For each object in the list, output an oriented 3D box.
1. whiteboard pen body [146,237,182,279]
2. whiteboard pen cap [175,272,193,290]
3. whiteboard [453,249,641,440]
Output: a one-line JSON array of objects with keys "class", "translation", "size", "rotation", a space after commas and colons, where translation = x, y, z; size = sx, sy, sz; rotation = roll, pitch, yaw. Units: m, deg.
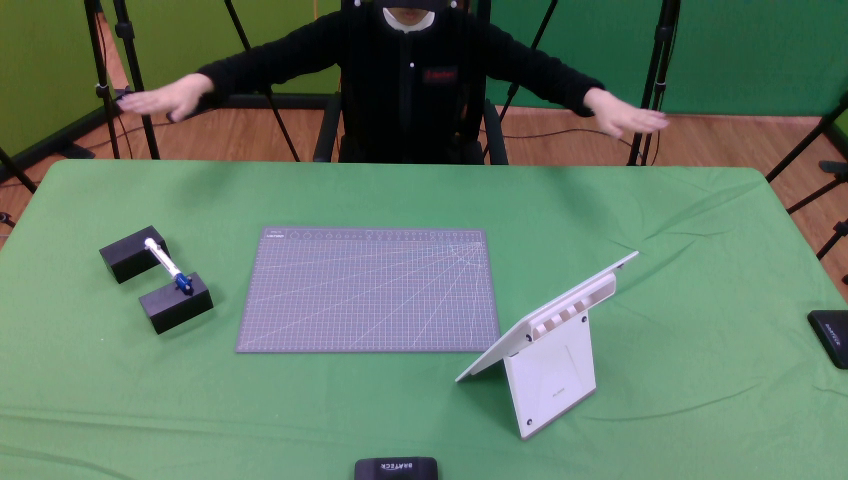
[{"class": "whiteboard pen body", "translation": [-0.449, 0.038, 1.061], "size": [0.017, 0.017, 0.140], "rotation": [-33, 57, -30]}, {"class": "whiteboard pen cap", "translation": [-0.409, 0.069, 1.032], "size": [0.018, 0.018, 0.033], "rotation": [-32, 56, -29]}, {"class": "whiteboard", "translation": [0.206, 0.174, 0.890], "size": [0.217, 0.306, 0.143], "rotation": [-25, 72, -25]}]
